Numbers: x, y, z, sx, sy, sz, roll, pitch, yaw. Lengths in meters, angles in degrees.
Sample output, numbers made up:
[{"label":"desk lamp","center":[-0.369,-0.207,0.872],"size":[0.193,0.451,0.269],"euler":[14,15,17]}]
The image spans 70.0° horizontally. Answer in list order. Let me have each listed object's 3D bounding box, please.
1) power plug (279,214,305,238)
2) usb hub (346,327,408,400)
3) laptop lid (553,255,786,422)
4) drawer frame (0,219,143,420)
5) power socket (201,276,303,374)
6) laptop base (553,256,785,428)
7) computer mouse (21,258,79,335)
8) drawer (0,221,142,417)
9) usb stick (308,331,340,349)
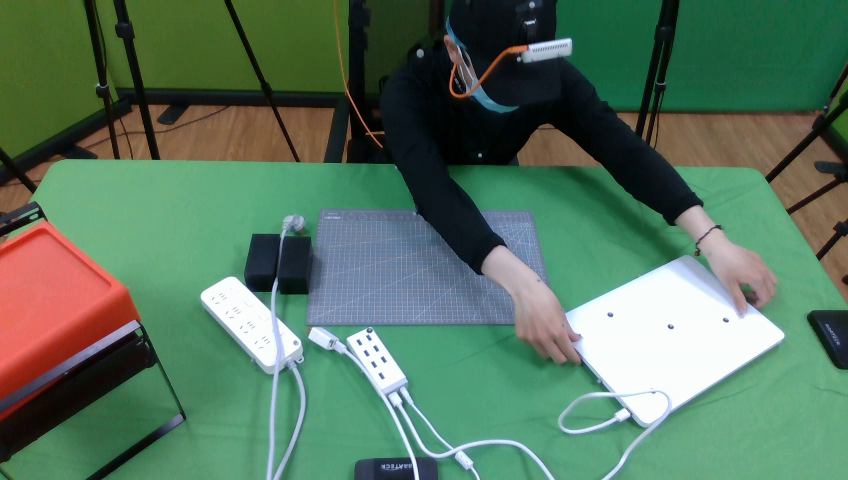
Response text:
[{"label":"power plug","center":[-0.261,-0.020,1.185],"size":[0.035,0.053,0.072],"euler":[10,56,33]},{"label":"usb hub","center":[-0.078,0.202,0.998],"size":[0.049,0.025,0.124],"euler":[-23,53,-24]},{"label":"laptop lid","center":[0.433,0.154,1.070],"size":[0.357,0.013,0.240],"euler":[-20,48,-22]},{"label":"drawer frame","center":[-0.518,0.096,0.777],"size":[0.201,0.083,0.213],"euler":[30,52,22]},{"label":"power socket","center":[-0.296,0.141,1.034],"size":[0.072,0.033,0.225],"euler":[-35,58,-31]},{"label":"laptop base","center":[0.433,0.165,1.078],"size":[0.355,0.023,0.234],"euler":[-21,48,-23]},{"label":"computer mouse","center":[-0.505,0.073,0.819],"size":[0.063,0.041,0.116],"euler":[-6,57,-19]},{"label":"drawer","center":[-0.517,0.095,0.780],"size":[0.193,0.073,0.211],"euler":[32,53,23]},{"label":"usb stick","center":[-0.174,0.167,1.023],"size":[0.059,0.027,0.021],"euler":[8,90,24]}]
